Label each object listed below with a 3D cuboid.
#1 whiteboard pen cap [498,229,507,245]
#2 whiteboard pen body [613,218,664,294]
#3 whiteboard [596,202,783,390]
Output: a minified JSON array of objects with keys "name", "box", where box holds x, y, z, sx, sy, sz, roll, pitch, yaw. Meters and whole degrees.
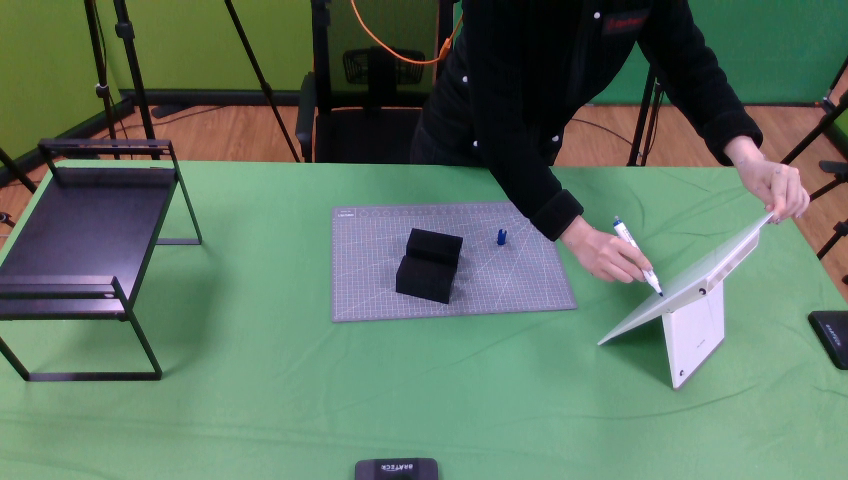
[{"name":"whiteboard pen cap","box":[0.155,-0.005,1.202,0.018,0.033,0.018,1,45,0]},{"name":"whiteboard pen body","box":[0.348,0.028,0.975,0.017,0.017,0.140,-28,83,-27]},{"name":"whiteboard","box":[0.460,0.112,0.967,0.217,0.306,0.143,-31,74,-29]}]
